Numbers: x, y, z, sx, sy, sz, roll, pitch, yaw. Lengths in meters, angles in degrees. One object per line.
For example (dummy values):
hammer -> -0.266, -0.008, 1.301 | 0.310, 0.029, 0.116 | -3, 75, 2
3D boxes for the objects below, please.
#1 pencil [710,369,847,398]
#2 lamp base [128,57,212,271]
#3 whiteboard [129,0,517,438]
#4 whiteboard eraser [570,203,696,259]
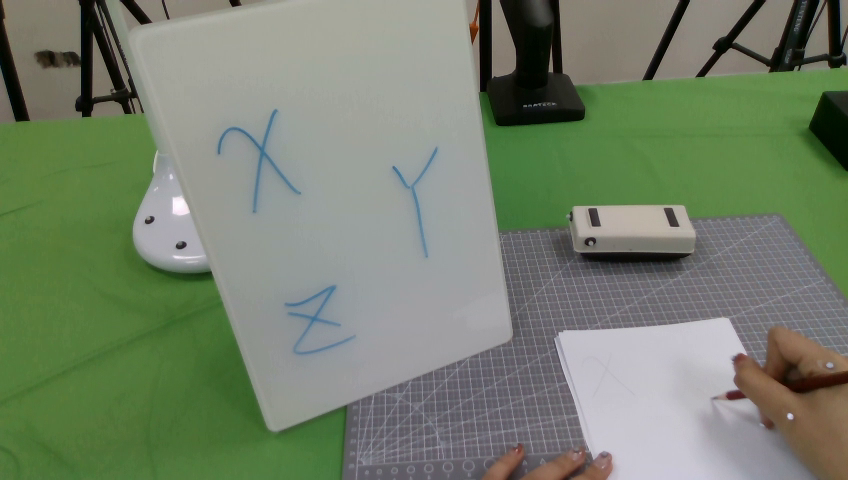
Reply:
pencil -> 0.257, 0.090, 0.391 | 0.012, 0.194, 0.012 | 7, 68, -18
lamp base -> -0.244, -0.086, 0.617 | 0.177, 0.182, 0.160 | 25, 48, 32
whiteboard -> -0.068, -0.037, 0.498 | 0.217, 0.307, 0.142 | -18, 24, -15
whiteboard eraser -> 0.205, -0.009, 0.600 | 0.112, 0.042, 0.055 | 0, 42, 4
